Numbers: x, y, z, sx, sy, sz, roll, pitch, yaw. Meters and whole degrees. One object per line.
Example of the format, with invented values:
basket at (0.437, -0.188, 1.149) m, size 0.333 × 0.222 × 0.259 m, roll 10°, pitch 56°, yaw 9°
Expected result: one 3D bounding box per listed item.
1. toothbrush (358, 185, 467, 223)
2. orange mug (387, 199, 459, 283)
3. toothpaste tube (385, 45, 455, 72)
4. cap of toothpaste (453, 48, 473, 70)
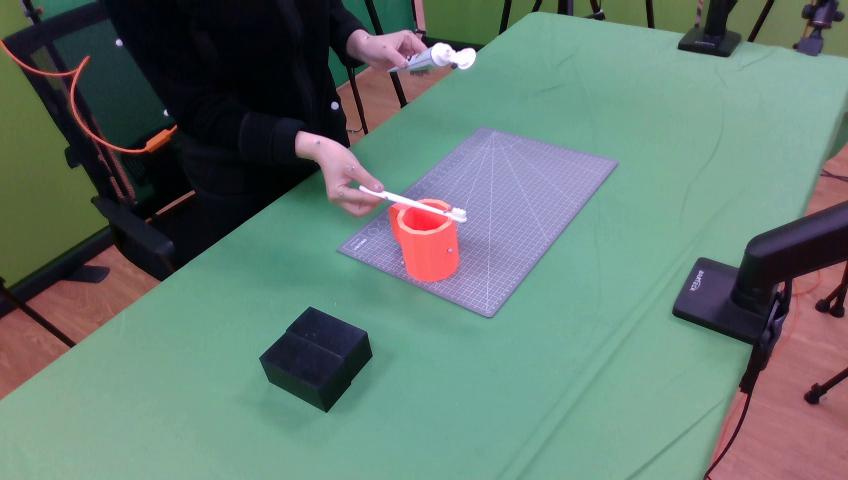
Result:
toothbrush at (-0.020, -0.055, 0.872) m, size 0.181 × 0.017 × 0.014 m, roll 18°, pitch 41°, yaw 24°
orange mug at (-0.006, -0.007, 0.923) m, size 0.125 × 0.101 × 0.084 m, roll 32°, pitch 54°, yaw 32°
toothpaste tube at (-0.002, -0.298, 1.012) m, size 0.055 × 0.034 × 0.164 m, roll -11°, pitch 11°, yaw -31°
cap of toothpaste at (0.061, -0.286, 0.950) m, size 0.037 × 0.011 × 0.037 m, roll -10°, pitch 73°, yaw 35°
